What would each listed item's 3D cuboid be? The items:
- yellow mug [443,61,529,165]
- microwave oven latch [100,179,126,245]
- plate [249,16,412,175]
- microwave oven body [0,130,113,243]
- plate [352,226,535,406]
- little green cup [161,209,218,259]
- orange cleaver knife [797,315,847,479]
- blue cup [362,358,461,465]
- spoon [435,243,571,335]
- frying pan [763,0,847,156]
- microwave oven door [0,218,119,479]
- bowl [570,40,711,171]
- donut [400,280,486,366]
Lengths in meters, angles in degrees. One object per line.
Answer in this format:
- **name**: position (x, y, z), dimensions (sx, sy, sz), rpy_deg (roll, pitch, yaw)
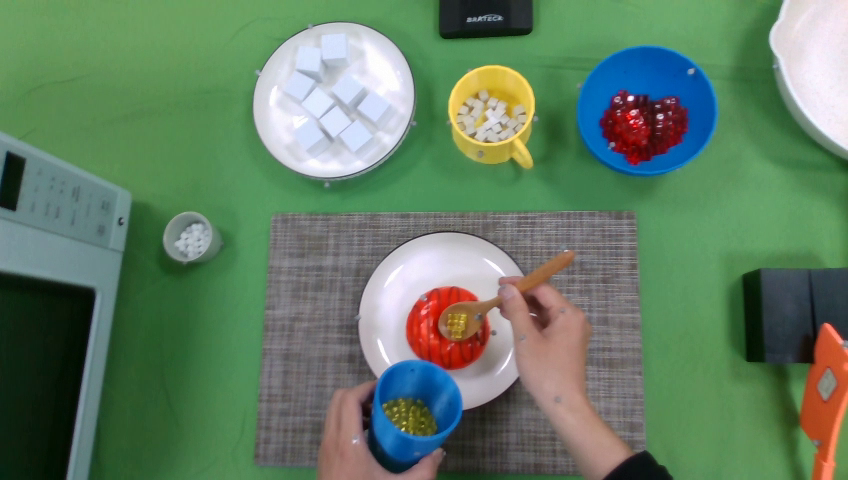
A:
- **yellow mug**: position (0.084, -0.143, 0.727), dimensions (0.100, 0.064, 0.130), rpy_deg (-37, 80, -1)
- **microwave oven latch**: position (-0.394, -0.035, 0.754), dimensions (0.030, 0.029, 0.079), rpy_deg (5, 82, 6)
- **plate**: position (-0.116, -0.180, 0.768), dimensions (0.207, 0.039, 0.207), rpy_deg (-1, 80, 6)
- **microwave oven body**: position (-0.564, 0.114, 0.649), dimensions (0.326, 0.261, 0.440), rpy_deg (3, 81, 6)
- **plate**: position (0.023, 0.087, 0.705), dimensions (0.209, 0.038, 0.208), rpy_deg (-1, 81, 6)
- **little green cup**: position (-0.290, -0.005, 0.756), dimensions (0.061, 0.039, 0.061), rpy_deg (-1, 82, 5)
- **orange cleaver knife**: position (0.409, 0.183, 0.629), dimensions (0.012, 0.077, 0.212), rpy_deg (-1, 109, 7)
- **blue cup**: position (-0.021, 0.178, 0.600), dimensions (0.093, 0.101, 0.091), rpy_deg (12, 50, -14)
- **spoon**: position (0.074, 0.052, 0.600), dimensions (0.041, 0.194, 0.021), rpy_deg (51, 47, -2)
- **frying pan**: position (0.521, -0.118, 0.656), dimensions (0.306, 0.103, 0.485), rpy_deg (5, 73, 8)
- **microwave oven door**: position (-0.423, 0.163, 0.621), dimensions (0.039, 0.245, 0.354), rpy_deg (3, 80, 7)
- **bowl**: position (0.242, -0.144, 0.704), dimensions (0.151, 0.077, 0.151), rpy_deg (-1, 81, 6)
- **donut**: position (0.022, 0.094, 0.692), dimensions (0.099, 0.048, 0.099), rpy_deg (-1, 84, 7)
